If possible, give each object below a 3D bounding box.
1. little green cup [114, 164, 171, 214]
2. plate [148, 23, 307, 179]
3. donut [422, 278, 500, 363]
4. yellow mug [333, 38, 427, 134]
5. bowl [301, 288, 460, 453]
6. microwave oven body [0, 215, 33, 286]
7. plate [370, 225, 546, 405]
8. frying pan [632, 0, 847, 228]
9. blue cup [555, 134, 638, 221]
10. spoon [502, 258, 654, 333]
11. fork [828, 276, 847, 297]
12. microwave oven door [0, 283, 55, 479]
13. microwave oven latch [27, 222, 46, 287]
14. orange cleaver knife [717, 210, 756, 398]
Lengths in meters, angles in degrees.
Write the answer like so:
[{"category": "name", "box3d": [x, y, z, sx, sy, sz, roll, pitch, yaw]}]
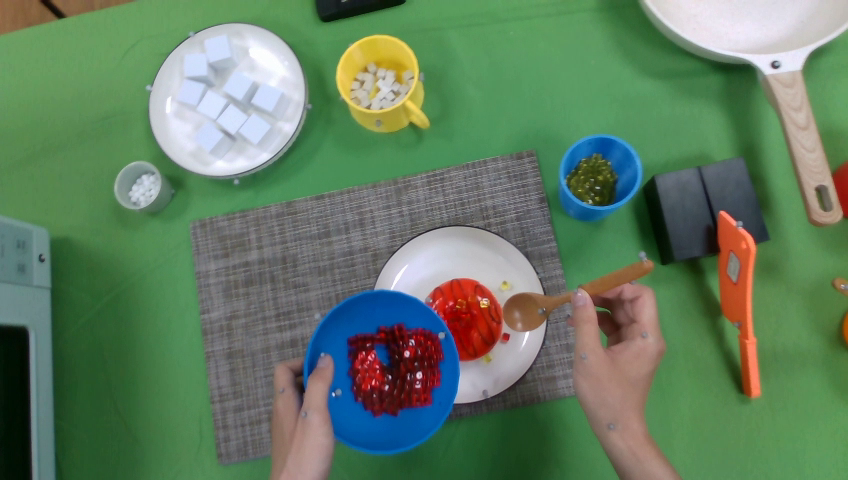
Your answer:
[{"category": "little green cup", "box3d": [-0.358, -0.063, 0.776, 0.061, 0.039, 0.061, -1, 81, 5]}, {"category": "plate", "box3d": [-0.250, -0.177, 0.787, 0.207, 0.039, 0.207, -1, 80, 6]}, {"category": "donut", "box3d": [0.039, 0.093, 0.699, 0.099, 0.048, 0.099, -1, 83, 6]}, {"category": "yellow mug", "box3d": [-0.046, -0.181, 0.754, 0.130, 0.064, 0.100, 41, 86, 10]}, {"category": "bowl", "box3d": [-0.049, 0.127, 0.589, 0.152, 0.077, 0.150, 6, 73, -20]}, {"category": "microwave oven body", "box3d": [-0.626, 0.196, 0.643, 0.326, 0.261, 0.440, -9, 80, 3]}, {"category": "plate", "box3d": [0.037, 0.087, 0.711, 0.209, 0.038, 0.208, -1, 81, 5]}, {"category": "frying pan", "box3d": [0.391, -0.244, 0.703, 0.306, 0.103, 0.484, -7, 72, 5]}, {"category": "blue cup", "box3d": [0.189, -0.062, 0.693, 0.092, 0.100, 0.092, -1, 78, 4]}, {"category": "spoon", "box3d": [0.133, 0.052, 0.553, 0.022, 0.193, 0.041, -24, 85, -32]}, {"category": "fork", "box3d": [0.462, 0.073, 0.620, 0.209, 0.018, 0.028, 24, 81, -35]}, {"category": "microwave oven door", "box3d": [-0.477, 0.215, 0.620, 0.039, 0.245, 0.354, -9, 79, 4]}, {"category": "microwave oven latch", "box3d": [-0.494, 0.019, 0.758, 0.030, 0.029, 0.079, -6, 81, 4]}, {"category": "orange cleaver knife", "box3d": [0.342, 0.072, 0.666, 0.012, 0.077, 0.212, -12, 108, 4]}]
